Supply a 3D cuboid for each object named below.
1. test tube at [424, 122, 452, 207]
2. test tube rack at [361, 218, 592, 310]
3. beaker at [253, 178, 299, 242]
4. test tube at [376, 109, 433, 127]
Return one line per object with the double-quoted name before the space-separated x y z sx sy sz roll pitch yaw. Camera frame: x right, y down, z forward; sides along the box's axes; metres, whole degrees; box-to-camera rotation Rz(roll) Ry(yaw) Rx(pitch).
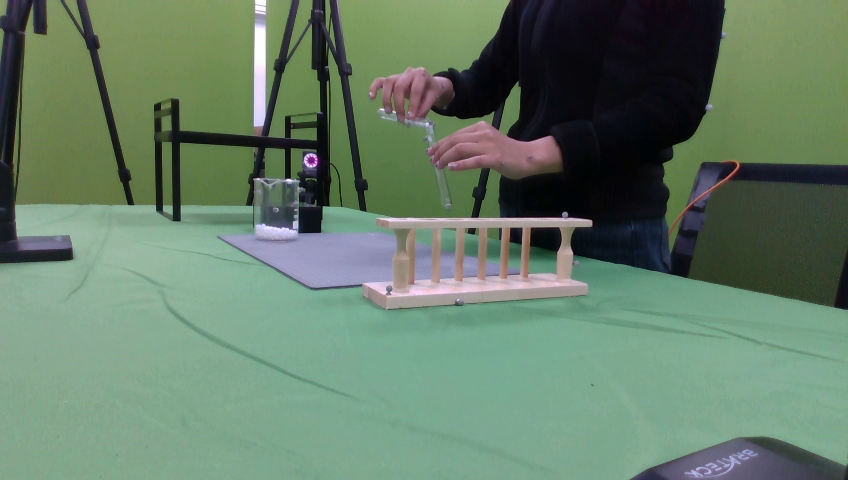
"test tube" 0.020 -0.113 0.890 0.017 0.150 0.017 -9 -28 -5
"test tube rack" 0.060 0.018 0.640 0.243 0.085 0.066 -1 8 -27
"beaker" -0.243 -0.050 0.990 0.074 0.100 0.084 2 9 1
"test tube" -0.035 -0.199 0.981 0.017 0.017 0.149 -3 17 -37
